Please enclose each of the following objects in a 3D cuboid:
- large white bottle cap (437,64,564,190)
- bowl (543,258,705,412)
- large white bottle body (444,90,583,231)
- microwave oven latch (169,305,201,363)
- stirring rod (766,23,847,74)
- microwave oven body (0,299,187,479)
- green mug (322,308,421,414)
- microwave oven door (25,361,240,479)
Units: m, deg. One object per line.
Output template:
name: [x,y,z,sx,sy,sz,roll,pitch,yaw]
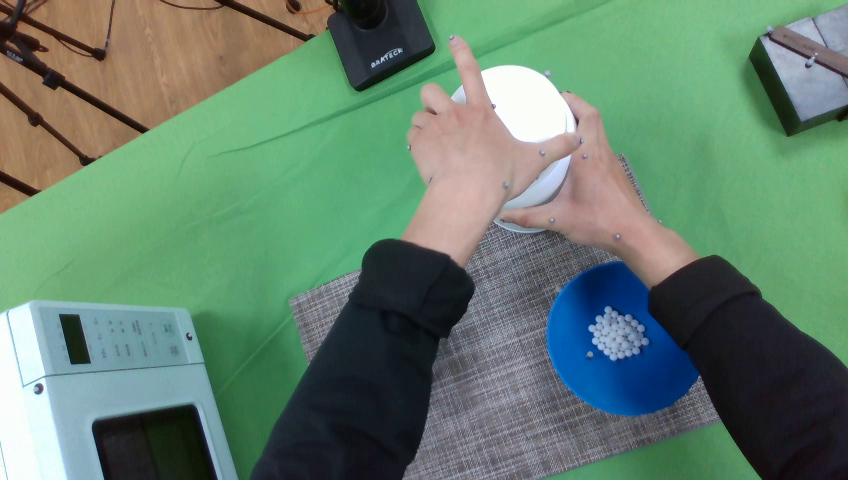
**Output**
large white bottle cap: [0.068,-0.103,0.548,0.114,0.018,0.114,-3,80,17]
bowl: [0.204,0.097,0.626,0.151,0.077,0.151,-2,83,17]
large white bottle body: [0.094,-0.088,0.628,0.130,0.186,0.130,-3,80,17]
microwave oven latch: [-0.318,0.123,0.787,0.030,0.029,0.079,-25,78,12]
stirring rod: [0.413,-0.164,0.581,0.175,0.006,0.014,36,129,18]
microwave oven body: [-0.414,0.331,0.688,0.326,0.261,0.439,-25,77,12]
green mug: [-0.050,0.137,0.684,0.092,0.105,0.124,-32,75,10]
microwave oven door: [-0.271,0.308,0.643,0.039,0.245,0.354,-25,76,12]
